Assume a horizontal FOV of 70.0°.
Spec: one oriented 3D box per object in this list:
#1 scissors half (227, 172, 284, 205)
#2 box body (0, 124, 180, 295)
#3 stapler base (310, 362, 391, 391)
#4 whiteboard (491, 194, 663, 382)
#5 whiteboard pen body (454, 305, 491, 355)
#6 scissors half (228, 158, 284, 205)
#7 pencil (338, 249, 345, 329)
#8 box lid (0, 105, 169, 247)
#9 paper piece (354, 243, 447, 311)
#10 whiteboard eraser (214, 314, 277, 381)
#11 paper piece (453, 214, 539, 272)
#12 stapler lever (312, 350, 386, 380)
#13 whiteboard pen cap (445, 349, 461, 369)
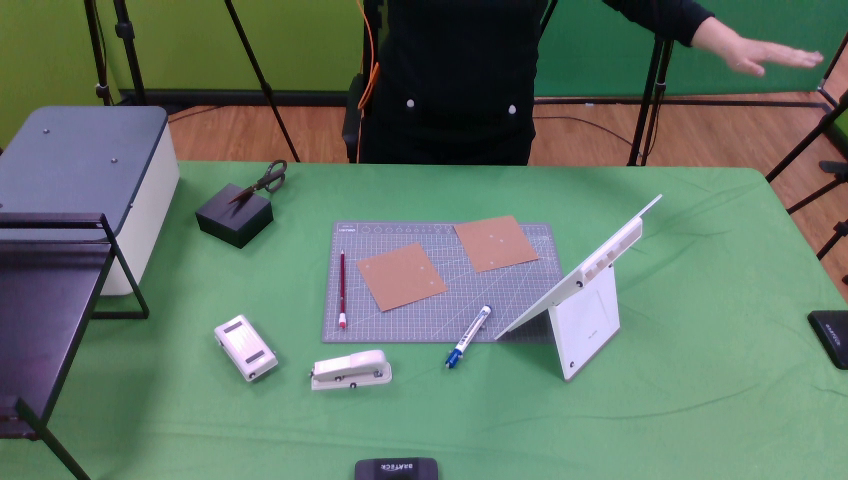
[{"bbox_3d":[-0.339,-0.101,1.230,0.013,0.040,0.175,18,28,18],"label":"scissors half"},{"bbox_3d":[-0.628,-0.075,1.122,0.254,0.161,0.361,1,46,-4],"label":"box body"},{"bbox_3d":[-0.119,0.215,0.981,0.131,0.024,0.041,-5,44,-7],"label":"stapler base"},{"bbox_3d":[0.280,0.100,0.969,0.217,0.306,0.143,-33,77,-31],"label":"whiteboard"},{"bbox_3d":[0.079,0.163,1.047,0.017,0.017,0.140,25,50,19],"label":"whiteboard pen body"},{"bbox_3d":[-0.337,-0.117,1.218,0.013,0.040,0.174,22,45,15],"label":"scissors half"},{"bbox_3d":[-0.152,0.085,1.108,0.012,0.012,0.192,-2,44,-7],"label":"pencil"},{"bbox_3d":[-0.624,-0.125,1.067,0.263,0.015,0.369,0,46,-3],"label":"box lid"},{"bbox_3d":[-0.045,0.066,1.137,0.136,0.009,0.137,-14,47,-22],"label":"paper piece"},{"bbox_3d":[-0.292,0.176,0.990,0.055,0.042,0.112,-30,55,-30],"label":"whiteboard eraser"},{"bbox_3d":[0.142,0.003,1.213,0.135,0.004,0.135,-11,47,-14],"label":"paper piece"},{"bbox_3d":[-0.120,0.198,0.963,0.118,0.040,0.026,-4,44,-8],"label":"stapler lever"},{"bbox_3d":[0.049,0.197,1.011,0.018,0.018,0.033,24,49,17],"label":"whiteboard pen cap"}]
